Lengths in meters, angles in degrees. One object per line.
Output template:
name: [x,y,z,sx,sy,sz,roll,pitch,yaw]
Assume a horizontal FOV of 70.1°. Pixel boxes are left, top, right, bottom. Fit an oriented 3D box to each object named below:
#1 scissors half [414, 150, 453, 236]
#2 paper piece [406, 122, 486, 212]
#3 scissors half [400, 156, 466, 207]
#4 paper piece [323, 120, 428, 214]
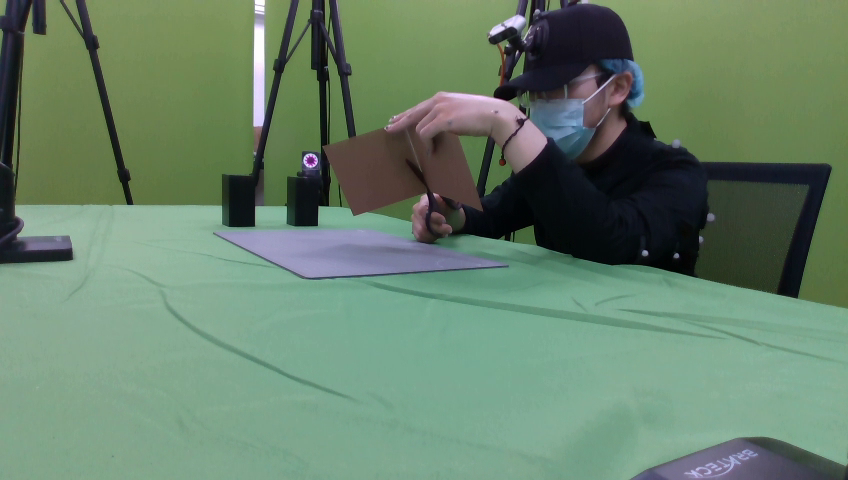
scissors half: [0.008,-0.082,1.008,0.012,0.175,0.040,-2,29,43]
paper piece: [0.033,-0.113,0.923,0.008,0.136,0.137,-40,38,-20]
scissors half: [0.018,-0.101,1.020,0.013,0.040,0.176,-6,-23,40]
paper piece: [-0.076,-0.115,0.979,0.136,0.135,0.004,-17,31,5]
